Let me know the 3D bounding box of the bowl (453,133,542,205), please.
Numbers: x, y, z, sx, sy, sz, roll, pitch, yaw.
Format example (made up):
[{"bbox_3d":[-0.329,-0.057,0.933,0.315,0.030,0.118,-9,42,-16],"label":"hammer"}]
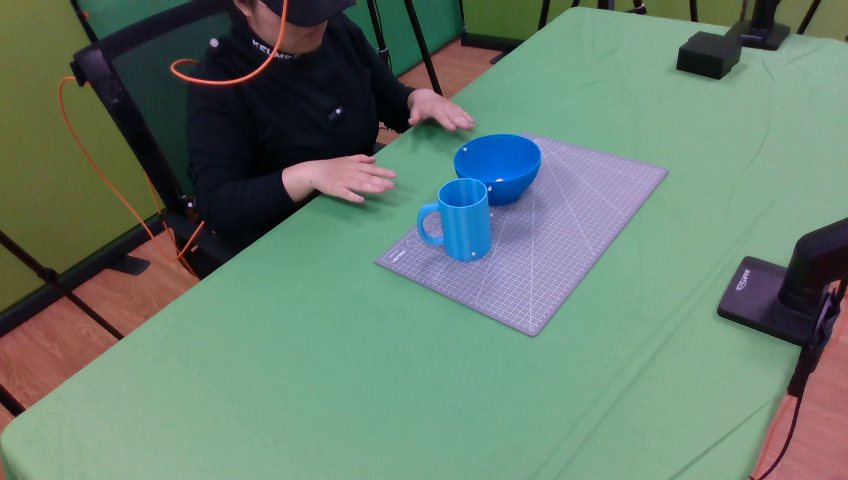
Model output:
[{"bbox_3d":[0.129,-0.113,1.045,0.151,0.077,0.150,-5,40,5],"label":"bowl"}]

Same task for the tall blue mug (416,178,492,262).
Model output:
[{"bbox_3d":[0.051,-0.025,0.930,0.107,0.108,0.077,-27,44,-20],"label":"tall blue mug"}]
